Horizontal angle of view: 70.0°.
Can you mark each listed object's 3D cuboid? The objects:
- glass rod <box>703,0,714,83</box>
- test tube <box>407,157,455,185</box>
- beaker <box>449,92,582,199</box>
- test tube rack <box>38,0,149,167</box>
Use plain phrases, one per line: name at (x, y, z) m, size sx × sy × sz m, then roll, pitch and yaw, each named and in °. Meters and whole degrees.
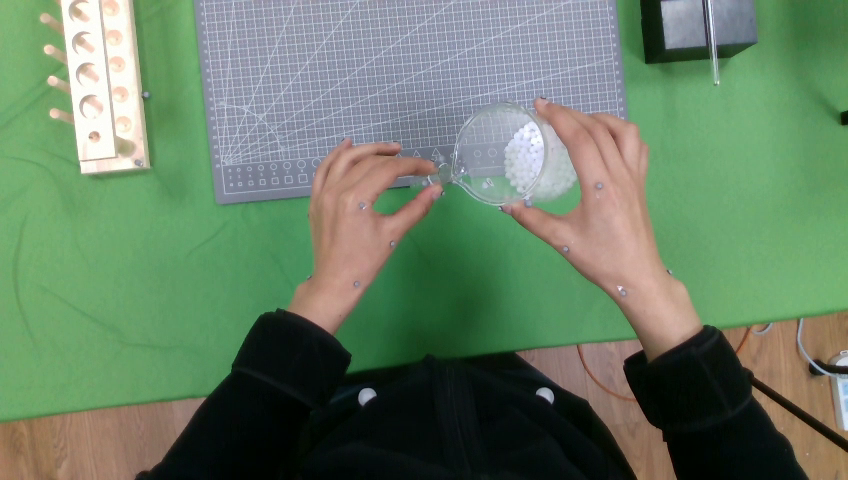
glass rod at (0.289, -0.261, 0.621) m, size 0.008 × 0.008 × 0.199 m, roll -4°, pitch 91°, yaw -3°
test tube at (0.003, -0.059, 0.537) m, size 0.017 × 0.149 × 0.017 m, roll -1°, pitch 93°, yaw -11°
beaker at (0.076, -0.068, 0.476) m, size 0.084 × 0.101 × 0.074 m, roll -21°, pitch 83°, yaw 30°
test tube rack at (-0.330, -0.199, 0.590) m, size 0.067 × 0.085 × 0.242 m, roll -6°, pitch 91°, yaw -3°
